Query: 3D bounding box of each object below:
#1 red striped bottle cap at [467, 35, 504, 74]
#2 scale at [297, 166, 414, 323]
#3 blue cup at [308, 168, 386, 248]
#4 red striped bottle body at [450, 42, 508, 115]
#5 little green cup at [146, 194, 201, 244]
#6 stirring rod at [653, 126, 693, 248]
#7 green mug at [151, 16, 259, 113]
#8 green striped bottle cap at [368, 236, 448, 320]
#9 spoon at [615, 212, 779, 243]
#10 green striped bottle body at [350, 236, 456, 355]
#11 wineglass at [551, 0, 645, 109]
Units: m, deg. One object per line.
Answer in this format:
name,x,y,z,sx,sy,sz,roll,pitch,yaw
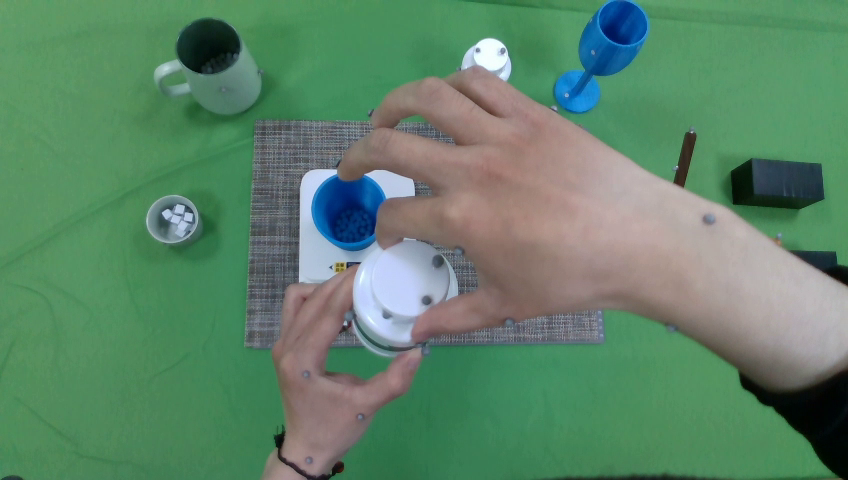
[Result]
red striped bottle cap,0.075,-0.226,0.737,0.044,0.018,0.044,1,75,-4
scale,-0.086,0.003,0.771,0.149,0.031,0.200,-1,79,-5
blue cup,-0.088,-0.029,0.711,0.093,0.100,0.092,1,80,-4
red striped bottle body,0.072,-0.215,0.790,0.063,0.120,0.062,1,78,-5
little green cup,-0.310,-0.024,0.758,0.061,0.039,0.061,1,77,-6
stirring rod,0.312,-0.061,0.763,0.014,0.177,0.006,5,37,10
green mug,-0.279,-0.214,0.767,0.125,0.105,0.092,-22,81,-9
green striped bottle cap,-0.009,0.021,0.332,0.044,0.020,0.044,1,71,-1
spoon,0.332,-0.010,0.754,0.022,0.192,0.041,20,81,-45
green striped bottle body,-0.016,0.037,0.387,0.063,0.119,0.063,2,74,-7
wineglass,0.218,-0.236,0.779,0.074,0.173,0.073,1,77,-4
